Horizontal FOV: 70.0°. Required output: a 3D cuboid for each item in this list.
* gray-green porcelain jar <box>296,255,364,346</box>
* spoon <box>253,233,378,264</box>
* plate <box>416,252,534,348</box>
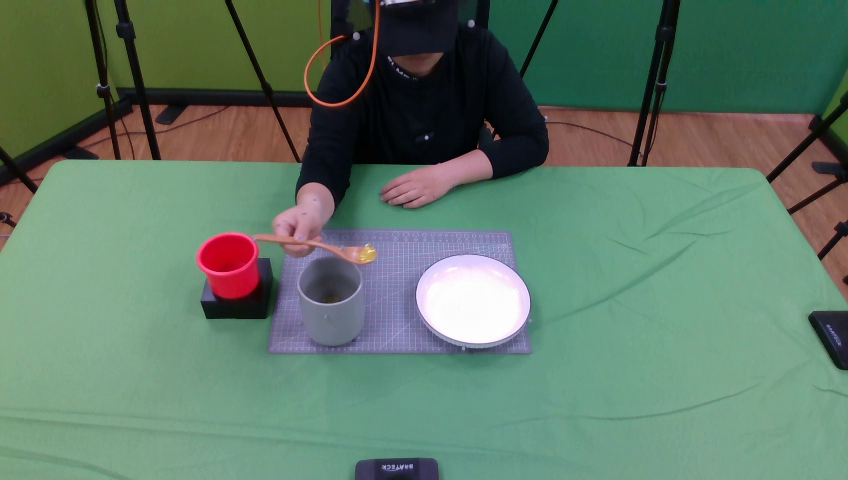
[{"bbox_3d":[-0.153,0.106,1.008,0.106,0.127,0.105,2,46,-2],"label":"gray-green porcelain jar"},{"bbox_3d":[-0.165,0.008,0.939,0.194,0.022,0.041,13,40,-22],"label":"spoon"},{"bbox_3d":[0.090,0.109,1.084,0.208,0.039,0.206,2,46,-2],"label":"plate"}]
